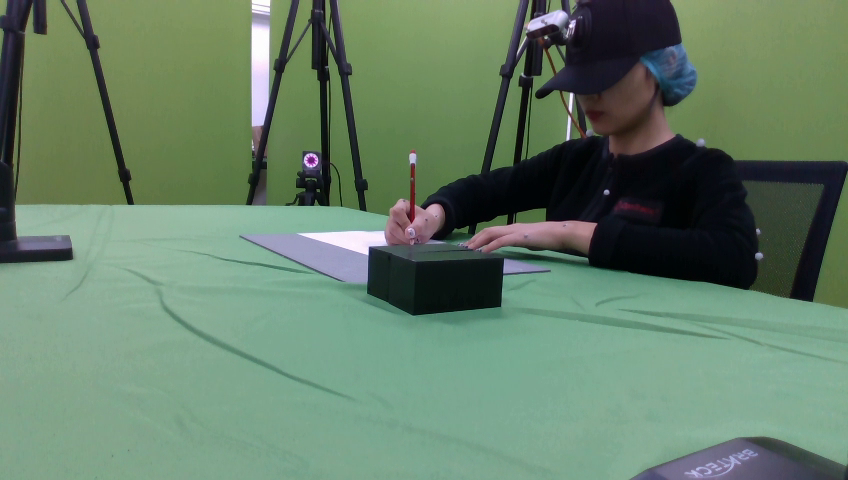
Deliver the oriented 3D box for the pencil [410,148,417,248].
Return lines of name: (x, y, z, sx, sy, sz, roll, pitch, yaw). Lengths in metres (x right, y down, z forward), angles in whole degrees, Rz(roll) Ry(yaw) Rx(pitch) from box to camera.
pencil: (-0.017, -0.070, 0.979, 0.012, 0.193, 0.012, -1, -30, 0)
